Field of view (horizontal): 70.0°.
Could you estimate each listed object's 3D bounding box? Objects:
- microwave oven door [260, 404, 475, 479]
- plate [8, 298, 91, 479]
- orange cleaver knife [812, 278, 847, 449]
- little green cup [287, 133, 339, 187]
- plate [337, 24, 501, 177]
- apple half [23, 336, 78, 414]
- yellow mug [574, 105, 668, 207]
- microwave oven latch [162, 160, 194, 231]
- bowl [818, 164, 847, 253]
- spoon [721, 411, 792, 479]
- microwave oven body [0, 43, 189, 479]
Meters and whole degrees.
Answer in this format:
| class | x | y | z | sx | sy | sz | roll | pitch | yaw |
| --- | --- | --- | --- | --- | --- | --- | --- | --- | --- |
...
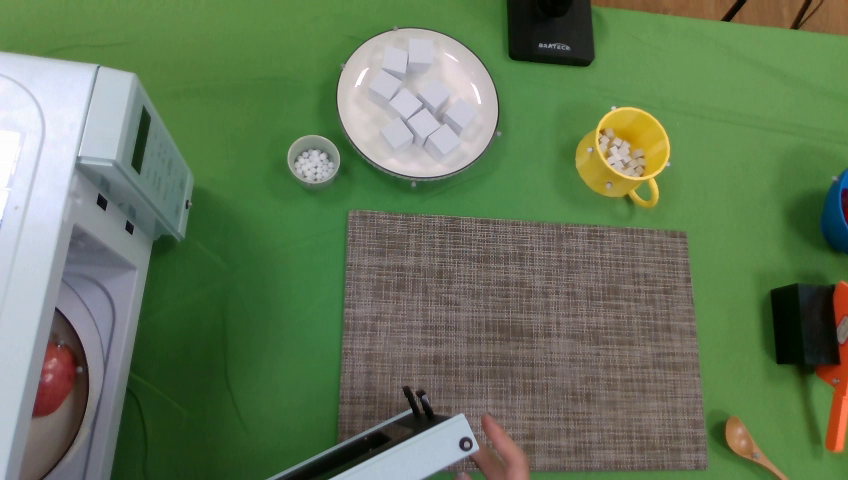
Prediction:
| class | x | y | z | sx | sy | sz | roll | pitch | yaw |
| --- | --- | --- | --- | --- | --- | --- | --- | --- | --- |
| microwave oven door | -0.141 | 0.236 | 0.527 | 0.356 | 0.244 | 0.039 | -23 | 80 | -14 |
| plate | -0.418 | 0.142 | 0.562 | 0.210 | 0.038 | 0.208 | 2 | 76 | -9 |
| orange cleaver knife | 0.518 | 0.155 | 0.762 | 0.012 | 0.077 | 0.212 | 4 | 99 | -4 |
| little green cup | -0.134 | -0.094 | 0.731 | 0.062 | 0.039 | 0.061 | 3 | 77 | -10 |
| plate | -0.007 | -0.175 | 0.775 | 0.208 | 0.039 | 0.206 | 2 | 76 | -9 |
| apple half | -0.372 | 0.125 | 0.567 | 0.081 | 0.033 | 0.081 | 2 | 76 | -6 |
| yellow mug | 0.264 | -0.103 | 0.789 | 0.100 | 0.064 | 0.130 | -26 | 83 | -15 |
| microwave oven latch | -0.278 | -0.052 | 0.678 | 0.030 | 0.029 | 0.079 | 8 | 76 | -8 |
| bowl | 0.599 | -0.033 | 0.824 | 0.152 | 0.077 | 0.150 | 2 | 76 | -9 |
| spoon | 0.434 | 0.287 | 0.747 | 0.193 | 0.022 | 0.041 | 45 | 57 | 3 |
| microwave oven body | -0.422 | 0.079 | 0.521 | 0.327 | 0.260 | 0.439 | 6 | 76 | -9 |
